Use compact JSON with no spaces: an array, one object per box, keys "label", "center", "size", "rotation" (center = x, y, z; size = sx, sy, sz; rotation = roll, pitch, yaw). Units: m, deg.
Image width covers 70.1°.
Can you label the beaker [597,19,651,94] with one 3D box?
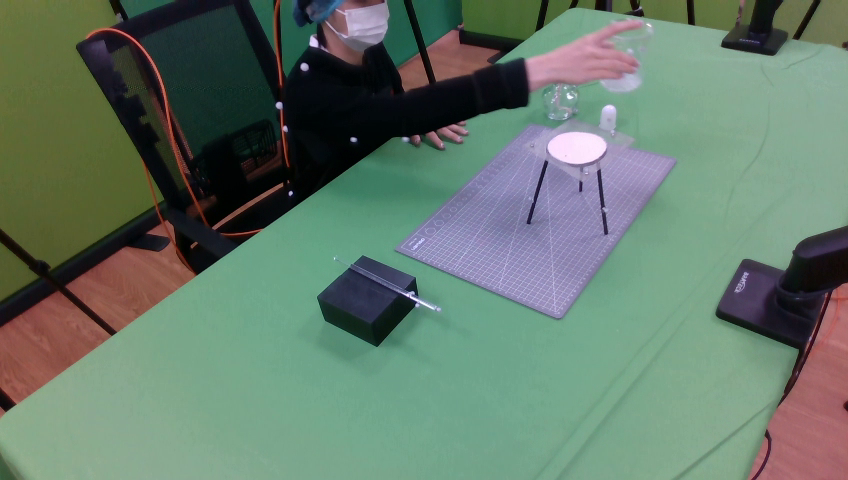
[{"label":"beaker","center":[0.325,-0.298,0.988],"size":[0.084,0.101,0.073],"rotation":[-14,43,-7]}]

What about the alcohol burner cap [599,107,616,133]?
[{"label":"alcohol burner cap","center":[0.361,-0.238,1.189],"size":[0.034,0.048,0.033],"rotation":[-4,40,4]}]

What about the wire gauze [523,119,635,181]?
[{"label":"wire gauze","center":[0.233,-0.143,0.913],"size":[0.122,0.011,0.124],"rotation":[-32,45,-25]}]

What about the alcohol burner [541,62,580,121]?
[{"label":"alcohol burner","center":[0.277,-0.302,1.222],"size":[0.078,0.119,0.077],"rotation":[-4,39,4]}]

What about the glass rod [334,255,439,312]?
[{"label":"glass rod","center":[-0.058,0.060,0.850],"size":[0.198,0.008,0.008],"rotation":[24,49,33]}]

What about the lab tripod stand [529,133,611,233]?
[{"label":"lab tripod stand","center":[0.236,-0.089,0.953],"size":[0.148,0.132,0.147],"rotation":[-5,41,5]}]
